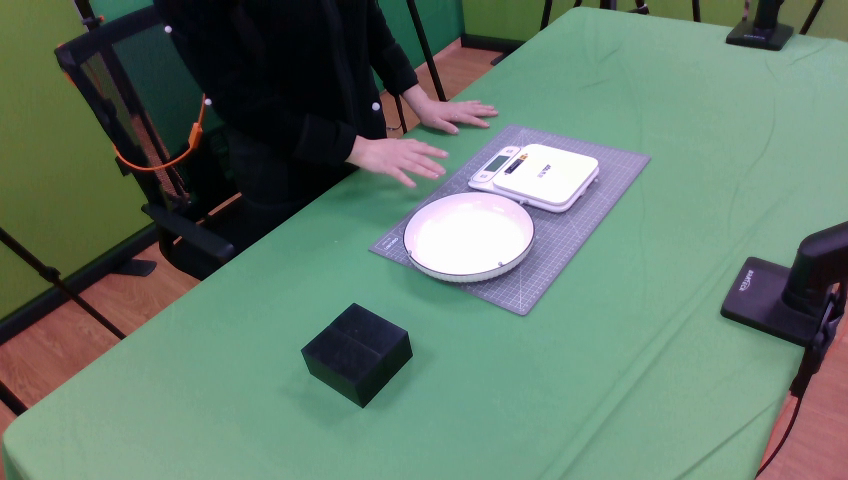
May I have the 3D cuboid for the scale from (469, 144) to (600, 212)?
[{"bbox_3d":[0.194,-0.117,1.075,0.199,0.032,0.149,21,48,32],"label":"scale"}]

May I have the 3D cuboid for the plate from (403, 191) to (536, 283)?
[{"bbox_3d":[0.071,-0.003,0.959,0.209,0.038,0.208,-5,40,5],"label":"plate"}]
